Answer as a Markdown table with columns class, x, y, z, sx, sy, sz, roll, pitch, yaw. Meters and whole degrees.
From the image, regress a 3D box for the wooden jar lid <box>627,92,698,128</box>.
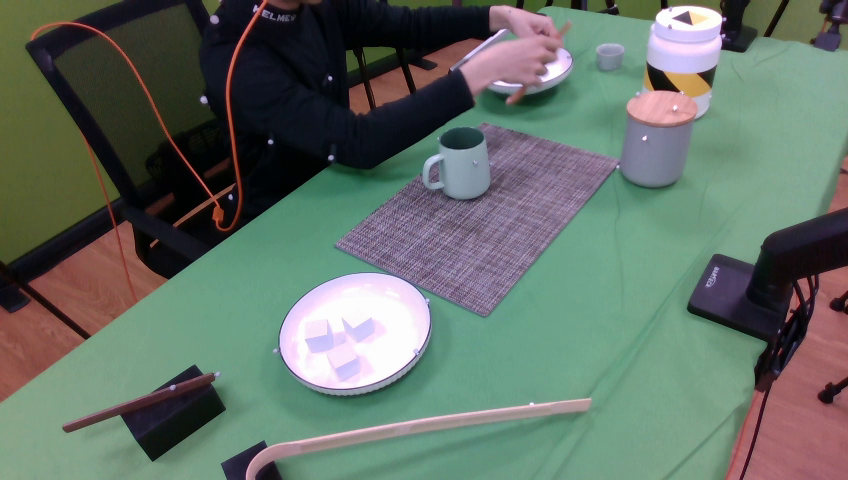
| class | x | y | z | sx | sy | sz | roll | pitch | yaw |
| --- | --- | --- | --- | --- | --- | --- | --- | --- | --- |
| wooden jar lid | 0.384 | -0.207 | 0.980 | 0.108 | 0.021 | 0.108 | -6 | 39 | 5 |

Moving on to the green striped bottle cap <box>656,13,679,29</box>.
| class | x | y | z | sx | sy | sz | roll | pitch | yaw |
| --- | --- | --- | --- | --- | --- | --- | --- | --- | --- |
| green striped bottle cap | 0.515 | -0.463 | 1.278 | 0.044 | 0.020 | 0.044 | -6 | 42 | 6 |

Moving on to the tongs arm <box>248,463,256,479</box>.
| class | x | y | z | sx | sy | sz | roll | pitch | yaw |
| --- | --- | --- | --- | --- | --- | --- | --- | --- | --- |
| tongs arm | 0.012 | 0.262 | 0.615 | 0.385 | 0.026 | 0.050 | 3 | 41 | -2 |

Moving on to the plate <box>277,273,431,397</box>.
| class | x | y | z | sx | sy | sz | roll | pitch | yaw |
| --- | --- | --- | --- | --- | --- | --- | --- | --- | --- |
| plate | -0.091 | 0.129 | 0.821 | 0.207 | 0.039 | 0.206 | -4 | 40 | 4 |

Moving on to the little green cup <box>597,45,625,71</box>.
| class | x | y | z | sx | sy | sz | roll | pitch | yaw |
| --- | --- | --- | --- | --- | --- | --- | --- | --- | --- |
| little green cup | 0.422 | -0.413 | 1.375 | 0.061 | 0.039 | 0.061 | -3 | 41 | 3 |

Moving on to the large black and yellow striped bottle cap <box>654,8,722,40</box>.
| class | x | y | z | sx | sy | sz | roll | pitch | yaw |
| --- | --- | --- | --- | --- | --- | --- | --- | --- | --- |
| large black and yellow striped bottle cap | 0.483 | -0.397 | 1.108 | 0.115 | 0.019 | 0.114 | -3 | 42 | 3 |

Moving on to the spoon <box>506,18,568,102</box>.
| class | x | y | z | sx | sy | sz | roll | pitch | yaw |
| --- | --- | --- | --- | --- | --- | --- | --- | --- | --- |
| spoon | 0.211 | -0.336 | 1.143 | 0.021 | 0.193 | 0.041 | 30 | 40 | -3 |

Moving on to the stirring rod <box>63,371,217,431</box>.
| class | x | y | z | sx | sy | sz | roll | pitch | yaw |
| --- | --- | --- | --- | --- | --- | --- | --- | --- | --- |
| stirring rod | -0.337 | 0.192 | 0.723 | 0.177 | 0.014 | 0.005 | -18 | 43 | -12 |

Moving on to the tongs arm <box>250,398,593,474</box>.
| class | x | y | z | sx | sy | sz | roll | pitch | yaw |
| --- | --- | --- | --- | --- | --- | --- | --- | --- | --- |
| tongs arm | 0.008 | 0.212 | 0.675 | 0.389 | 0.028 | 0.028 | -5 | 46 | -11 |

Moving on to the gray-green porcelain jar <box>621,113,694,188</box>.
| class | x | y | z | sx | sy | sz | roll | pitch | yaw |
| --- | --- | --- | --- | --- | --- | --- | --- | --- | --- |
| gray-green porcelain jar | 0.390 | -0.161 | 1.020 | 0.106 | 0.127 | 0.105 | -4 | 41 | 4 |

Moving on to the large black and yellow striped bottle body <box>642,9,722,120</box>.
| class | x | y | z | sx | sy | sz | roll | pitch | yaw |
| --- | --- | --- | --- | --- | --- | --- | --- | --- | --- |
| large black and yellow striped bottle body | 0.493 | -0.334 | 1.161 | 0.131 | 0.185 | 0.130 | -4 | 41 | 4 |

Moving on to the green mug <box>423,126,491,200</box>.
| class | x | y | z | sx | sy | sz | roll | pitch | yaw |
| --- | --- | --- | --- | --- | --- | --- | --- | --- | --- |
| green mug | 0.055 | -0.125 | 1.039 | 0.126 | 0.105 | 0.091 | -24 | 44 | -19 |

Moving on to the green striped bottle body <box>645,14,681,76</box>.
| class | x | y | z | sx | sy | sz | roll | pitch | yaw |
| --- | --- | --- | --- | --- | --- | --- | --- | --- | --- |
| green striped bottle body | 0.520 | -0.424 | 1.312 | 0.063 | 0.120 | 0.063 | -4 | 41 | 4 |

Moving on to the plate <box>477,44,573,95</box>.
| class | x | y | z | sx | sy | sz | roll | pitch | yaw |
| --- | --- | --- | --- | --- | --- | --- | --- | --- | --- |
| plate | 0.220 | -0.367 | 1.316 | 0.209 | 0.038 | 0.208 | -7 | 40 | 6 |
